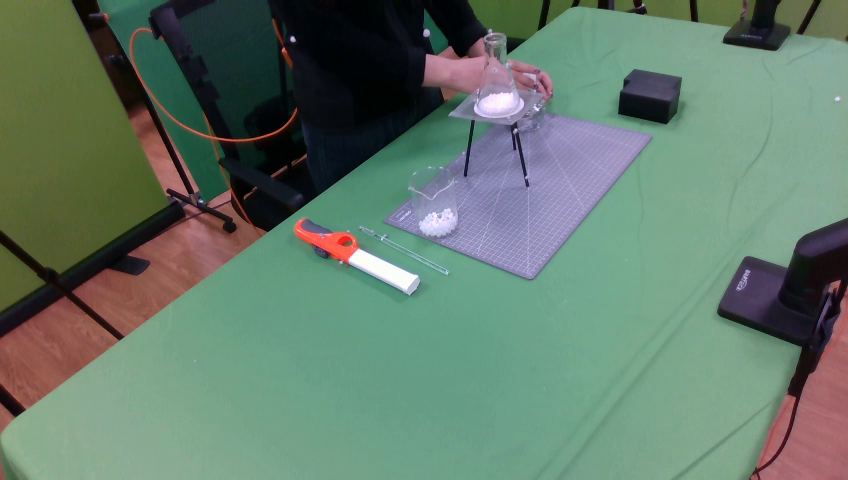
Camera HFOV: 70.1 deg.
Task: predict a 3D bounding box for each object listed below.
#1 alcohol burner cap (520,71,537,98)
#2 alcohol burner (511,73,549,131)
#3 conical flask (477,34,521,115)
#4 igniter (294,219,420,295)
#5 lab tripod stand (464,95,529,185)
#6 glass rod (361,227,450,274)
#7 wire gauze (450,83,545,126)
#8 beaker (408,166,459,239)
[{"bbox_3d":[0.205,-0.304,1.172,0.034,0.048,0.033,-1,48,2],"label":"alcohol burner cap"},{"bbox_3d":[0.208,-0.278,1.197,0.078,0.119,0.077,-5,42,5],"label":"alcohol burner"},{"bbox_3d":[0.121,-0.275,0.999,0.075,0.122,0.075,-5,40,5],"label":"conical flask"},{"bbox_3d":[-0.118,0.022,0.977,0.274,0.025,0.057,24,60,34],"label":"igniter"},{"bbox_3d":[0.138,-0.182,1.082,0.148,0.132,0.147,-6,38,5],"label":"lab tripod stand"},{"bbox_3d":[-0.034,0.014,0.985,0.198,0.008,0.008,26,52,34],"label":"glass rod"},{"bbox_3d":[0.126,-0.232,1.041,0.120,0.011,0.125,17,48,31],"label":"wire gauze"},{"bbox_3d":[0.018,-0.057,0.984,0.074,0.101,0.083,-6,41,5],"label":"beaker"}]
